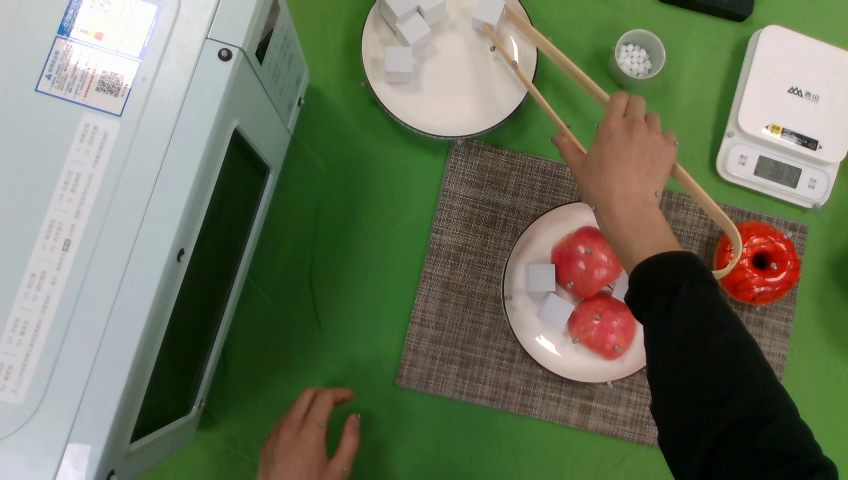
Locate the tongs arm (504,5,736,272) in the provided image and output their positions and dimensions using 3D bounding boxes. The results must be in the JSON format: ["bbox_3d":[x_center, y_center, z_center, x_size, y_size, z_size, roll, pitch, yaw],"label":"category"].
[{"bbox_3d":[0.194,-0.125,0.641,0.028,0.028,0.384,-33,66,-4],"label":"tongs arm"}]

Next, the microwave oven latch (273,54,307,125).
[{"bbox_3d":[-0.155,-0.172,0.681,0.030,0.029,0.079,19,85,-3],"label":"microwave oven latch"}]

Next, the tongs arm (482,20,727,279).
[{"bbox_3d":[0.176,-0.113,0.641,0.051,0.027,0.381,-30,67,1],"label":"tongs arm"}]

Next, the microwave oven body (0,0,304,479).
[{"bbox_3d":[-0.340,-0.055,0.561,0.326,0.260,0.440,17,85,-3],"label":"microwave oven body"}]

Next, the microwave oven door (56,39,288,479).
[{"bbox_3d":[-0.212,0.027,0.558,0.039,0.244,0.355,16,84,-2],"label":"microwave oven door"}]

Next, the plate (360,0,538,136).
[{"bbox_3d":[0.029,-0.222,0.718,0.208,0.039,0.207,0,85,-4],"label":"plate"}]

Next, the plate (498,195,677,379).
[{"bbox_3d":[0.186,0.053,0.702,0.209,0.038,0.208,0,85,-4],"label":"plate"}]

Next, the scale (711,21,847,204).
[{"bbox_3d":[0.447,-0.156,0.745,0.149,0.031,0.200,18,84,-2],"label":"scale"}]

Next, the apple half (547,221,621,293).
[{"bbox_3d":[0.185,0.016,0.689,0.081,0.053,0.074,-31,85,-6],"label":"apple half"}]

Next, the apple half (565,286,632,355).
[{"bbox_3d":[0.205,0.090,0.693,0.081,0.033,0.081,0,86,0],"label":"apple half"}]

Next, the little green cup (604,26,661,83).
[{"bbox_3d":[0.250,-0.222,0.733,0.061,0.038,0.061,0,84,-4],"label":"little green cup"}]

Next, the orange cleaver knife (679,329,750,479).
[{"bbox_3d":[0.345,0.212,0.709,0.077,0.012,0.210,-4,84,-9],"label":"orange cleaver knife"}]

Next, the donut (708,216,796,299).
[{"bbox_3d":[0.385,0.020,0.715,0.099,0.048,0.099,0,84,-2],"label":"donut"}]
